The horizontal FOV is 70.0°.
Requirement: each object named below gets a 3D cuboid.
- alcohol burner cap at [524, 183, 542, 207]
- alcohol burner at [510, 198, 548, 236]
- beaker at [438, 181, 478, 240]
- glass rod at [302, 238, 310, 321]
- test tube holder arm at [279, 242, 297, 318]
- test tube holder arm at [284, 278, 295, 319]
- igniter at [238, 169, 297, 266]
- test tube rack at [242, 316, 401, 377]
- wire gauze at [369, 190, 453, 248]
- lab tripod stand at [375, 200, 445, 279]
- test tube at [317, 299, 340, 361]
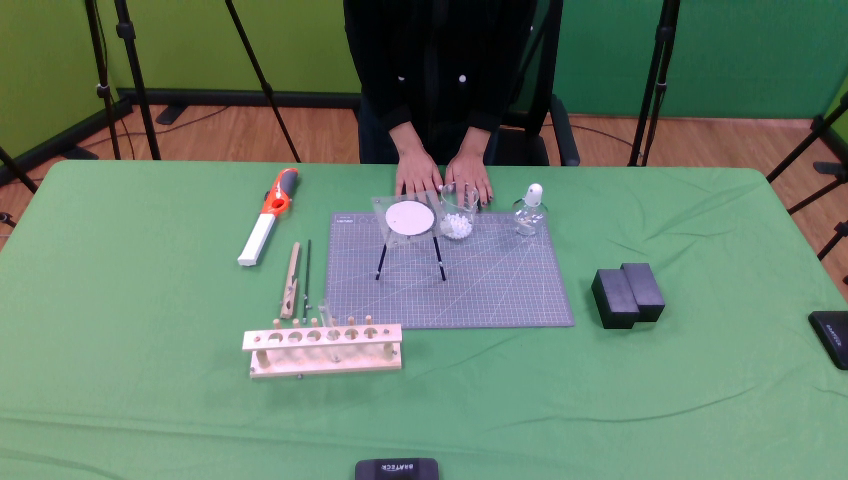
[{"bbox_3d":[0.216,-0.090,1.186,0.034,0.048,0.033,1,55,-2],"label":"alcohol burner cap"},{"bbox_3d":[0.214,-0.066,1.213,0.078,0.119,0.077,2,48,-3],"label":"alcohol burner"},{"bbox_3d":[0.066,-0.053,1.200,0.074,0.101,0.083,-17,50,-19],"label":"beaker"},{"bbox_3d":[-0.218,0.069,1.125,0.008,0.008,0.198,-2,47,-5],"label":"glass rod"},{"bbox_3d":[-0.249,0.069,1.114,0.013,0.015,0.177,25,38,-28],"label":"test tube holder arm"},{"bbox_3d":[-0.241,0.103,1.085,0.010,0.015,0.087,25,38,-27],"label":"test tube holder arm"},{"bbox_3d":[-0.313,-0.055,1.224,0.057,0.025,0.275,1,45,10],"label":"igniter"},{"bbox_3d":[-0.161,0.166,0.983,0.242,0.085,0.066,-2,46,-6],"label":"test tube rack"},{"bbox_3d":[-0.024,-0.042,1.064,0.121,0.011,0.124,-10,48,-16],"label":"wire gauze"},{"bbox_3d":[-0.023,0.003,1.113,0.148,0.132,0.147,4,45,-3],"label":"lab tripod stand"},{"bbox_3d":[-0.147,0.142,0.937,0.017,0.151,0.017,-1,46,2],"label":"test tube"}]
